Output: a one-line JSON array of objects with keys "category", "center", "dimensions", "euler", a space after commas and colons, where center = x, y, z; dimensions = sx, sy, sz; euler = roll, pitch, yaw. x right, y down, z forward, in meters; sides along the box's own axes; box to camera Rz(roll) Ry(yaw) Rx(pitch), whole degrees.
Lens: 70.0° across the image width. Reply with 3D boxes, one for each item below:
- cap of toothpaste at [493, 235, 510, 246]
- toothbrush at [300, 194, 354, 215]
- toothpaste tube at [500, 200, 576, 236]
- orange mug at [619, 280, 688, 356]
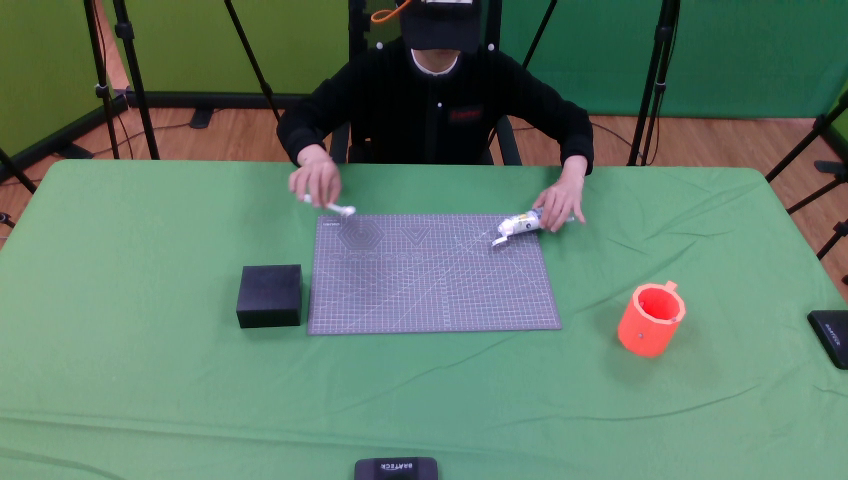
[{"category": "cap of toothpaste", "center": [0.151, 0.000, 1.191], "dimensions": [0.037, 0.037, 0.011], "euler": [-22, 83, -23]}, {"category": "toothbrush", "center": [-0.175, -0.065, 1.067], "dimensions": [0.016, 0.014, 0.181], "euler": [-28, 27, -29]}, {"category": "toothpaste tube", "center": [0.226, -0.041, 1.223], "dimensions": [0.165, 0.034, 0.054], "euler": [-18, 59, -20]}, {"category": "orange mug", "center": [0.401, 0.125, 1.045], "dimensions": [0.083, 0.101, 0.126], "euler": [30, 56, 24]}]
